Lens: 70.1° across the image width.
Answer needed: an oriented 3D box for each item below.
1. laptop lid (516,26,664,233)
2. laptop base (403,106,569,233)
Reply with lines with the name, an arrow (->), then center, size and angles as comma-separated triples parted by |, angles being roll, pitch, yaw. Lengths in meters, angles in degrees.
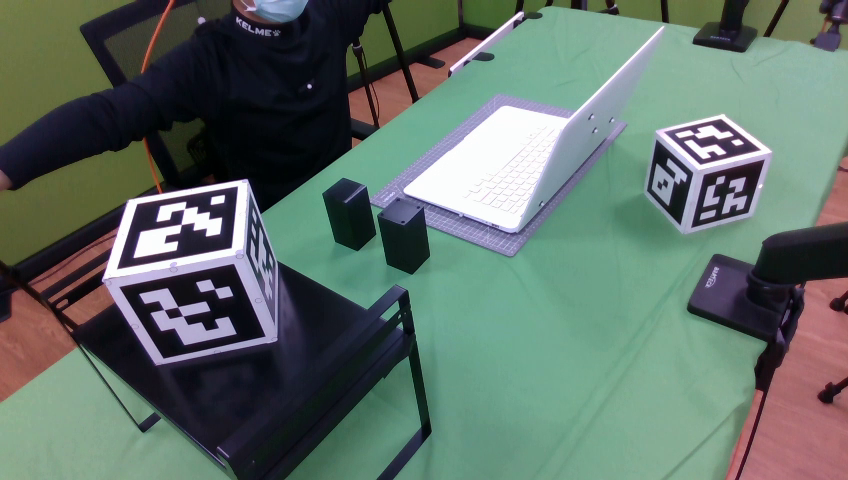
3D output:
laptop lid -> 0.268, -0.178, 0.966 | 0.013, 0.242, 0.357 | 35, 52, 16
laptop base -> 0.156, -0.144, 1.116 | 0.233, 0.023, 0.355 | 20, 47, 32
